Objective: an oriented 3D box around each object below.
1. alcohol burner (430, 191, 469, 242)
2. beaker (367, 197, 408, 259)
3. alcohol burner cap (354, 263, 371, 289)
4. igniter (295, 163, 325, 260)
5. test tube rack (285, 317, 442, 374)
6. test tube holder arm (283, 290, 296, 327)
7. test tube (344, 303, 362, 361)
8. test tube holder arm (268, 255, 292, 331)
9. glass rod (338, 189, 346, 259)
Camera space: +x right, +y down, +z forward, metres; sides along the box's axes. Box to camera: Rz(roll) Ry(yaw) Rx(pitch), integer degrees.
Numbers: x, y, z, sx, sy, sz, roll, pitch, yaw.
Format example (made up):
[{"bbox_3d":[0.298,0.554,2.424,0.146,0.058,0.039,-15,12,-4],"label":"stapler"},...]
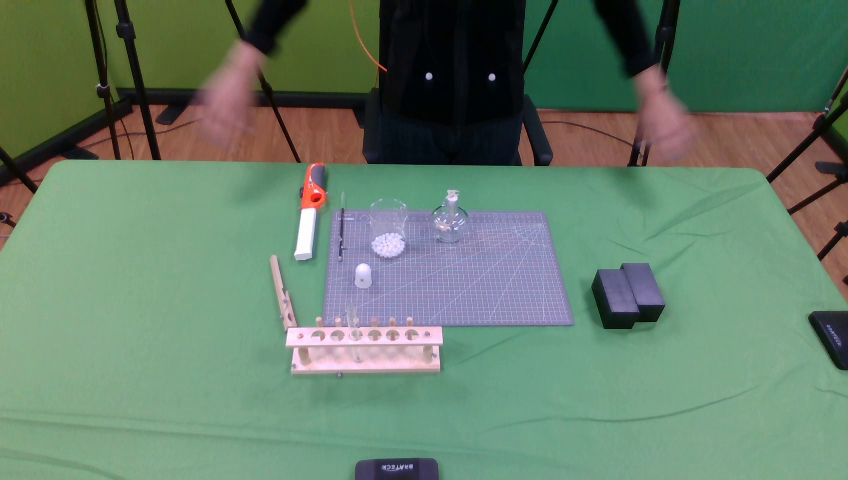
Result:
[{"bbox_3d":[0.052,-0.053,1.185,0.078,0.119,0.077,2,48,-2],"label":"alcohol burner"},{"bbox_3d":[-0.067,-0.018,1.153,0.074,0.101,0.083,-26,54,-25],"label":"beaker"},{"bbox_3d":[-0.113,0.063,1.111,0.034,0.048,0.033,2,45,-2],"label":"alcohol burner cap"},{"bbox_3d":[-0.234,-0.067,1.243,0.057,0.025,0.274,-6,46,4],"label":"igniter"},{"bbox_3d":[-0.095,0.166,0.988,0.242,0.085,0.066,0,46,-4],"label":"test tube rack"},{"bbox_3d":[-0.241,0.123,1.067,0.010,0.015,0.087,15,35,-38],"label":"test tube holder arm"},{"bbox_3d":[-0.109,0.146,0.937,0.017,0.151,0.017,0,49,0],"label":"test tube"},{"bbox_3d":[-0.261,0.091,1.092,0.013,0.015,0.177,14,35,-38],"label":"test tube holder arm"},{"bbox_3d":[-0.166,-0.036,1.227,0.008,0.008,0.198,0,46,-3],"label":"glass rod"}]
